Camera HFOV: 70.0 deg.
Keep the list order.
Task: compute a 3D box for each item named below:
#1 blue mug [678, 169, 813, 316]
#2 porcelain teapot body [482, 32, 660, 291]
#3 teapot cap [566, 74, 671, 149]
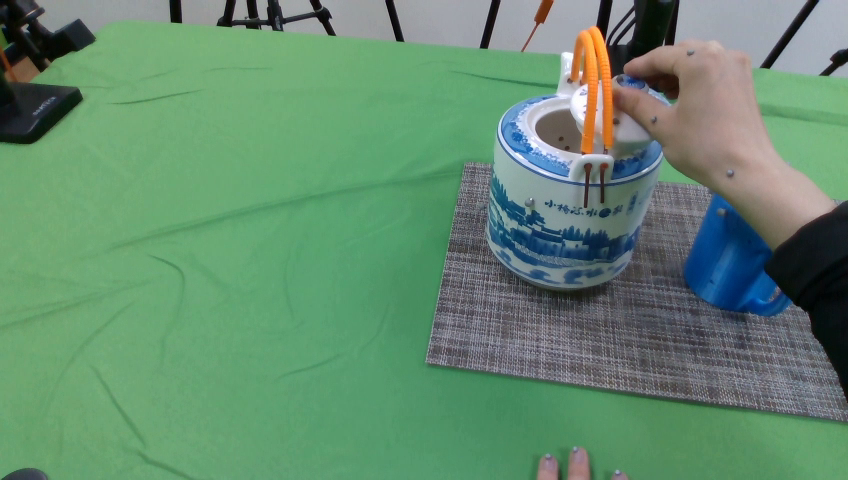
[{"bbox_3d":[0.294,0.012,0.547,0.082,0.107,0.115,-5,43,-6],"label":"blue mug"},{"bbox_3d":[0.132,-0.090,0.565,0.145,0.227,0.203,1,42,1],"label":"porcelain teapot body"},{"bbox_3d":[0.159,-0.111,0.492,0.085,0.044,0.084,1,46,-1],"label":"teapot cap"}]
